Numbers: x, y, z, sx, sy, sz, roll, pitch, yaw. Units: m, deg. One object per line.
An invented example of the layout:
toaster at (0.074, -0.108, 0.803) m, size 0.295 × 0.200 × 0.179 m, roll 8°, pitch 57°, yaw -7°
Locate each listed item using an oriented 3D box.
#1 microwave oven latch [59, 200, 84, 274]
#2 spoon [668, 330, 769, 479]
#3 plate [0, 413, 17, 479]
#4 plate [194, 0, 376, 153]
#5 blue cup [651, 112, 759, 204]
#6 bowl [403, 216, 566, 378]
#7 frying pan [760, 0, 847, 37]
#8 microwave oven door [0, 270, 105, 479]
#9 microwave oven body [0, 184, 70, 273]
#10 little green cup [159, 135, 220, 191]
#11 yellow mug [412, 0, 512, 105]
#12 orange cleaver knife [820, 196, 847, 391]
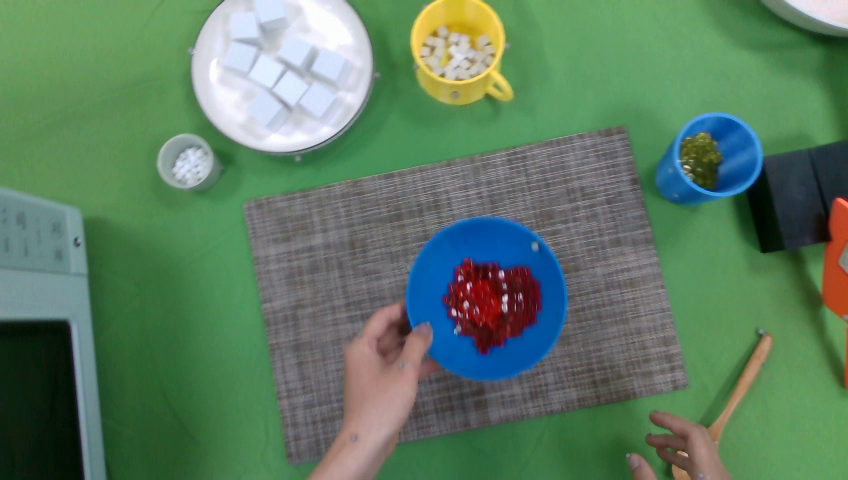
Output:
microwave oven latch at (-0.399, -0.003, 0.670) m, size 0.030 × 0.029 × 0.079 m, roll -8°, pitch 85°, yaw 1°
spoon at (0.324, 0.180, 0.655) m, size 0.041 × 0.022 × 0.193 m, roll 33°, pitch 86°, yaw 18°
plate at (-0.506, 0.234, 0.606) m, size 0.209 × 0.038 × 0.208 m, roll 0°, pitch 86°, yaw 0°
plate at (-0.157, -0.199, 0.700) m, size 0.207 × 0.039 × 0.207 m, roll 0°, pitch 84°, yaw 2°
blue cup at (0.287, -0.077, 0.642) m, size 0.092 × 0.100 × 0.092 m, roll 0°, pitch 82°, yaw 1°
bowl at (0.059, 0.058, 0.594) m, size 0.151 × 0.077 × 0.151 m, roll -1°, pitch 81°, yaw 6°
frying pan at (0.488, -0.259, 0.651) m, size 0.307 × 0.103 × 0.485 m, roll -6°, pitch 76°, yaw 2°
microwave oven door at (-0.375, 0.203, 0.548) m, size 0.039 × 0.244 × 0.354 m, roll -8°, pitch 84°, yaw 2°
microwave oven body at (-0.526, 0.182, 0.560) m, size 0.326 × 0.260 × 0.440 m, roll -8°, pitch 85°, yaw 1°
little green cup at (-0.264, -0.085, 0.691) m, size 0.061 × 0.039 × 0.061 m, roll 0°, pitch 85°, yaw 1°
yellow mug at (0.049, -0.201, 0.680) m, size 0.130 × 0.064 × 0.100 m, roll 42°, pitch 87°, yaw 4°
orange cleaver knife at (0.441, 0.059, 0.633) m, size 0.012 × 0.076 × 0.213 m, roll -12°, pitch 113°, yaw 1°
